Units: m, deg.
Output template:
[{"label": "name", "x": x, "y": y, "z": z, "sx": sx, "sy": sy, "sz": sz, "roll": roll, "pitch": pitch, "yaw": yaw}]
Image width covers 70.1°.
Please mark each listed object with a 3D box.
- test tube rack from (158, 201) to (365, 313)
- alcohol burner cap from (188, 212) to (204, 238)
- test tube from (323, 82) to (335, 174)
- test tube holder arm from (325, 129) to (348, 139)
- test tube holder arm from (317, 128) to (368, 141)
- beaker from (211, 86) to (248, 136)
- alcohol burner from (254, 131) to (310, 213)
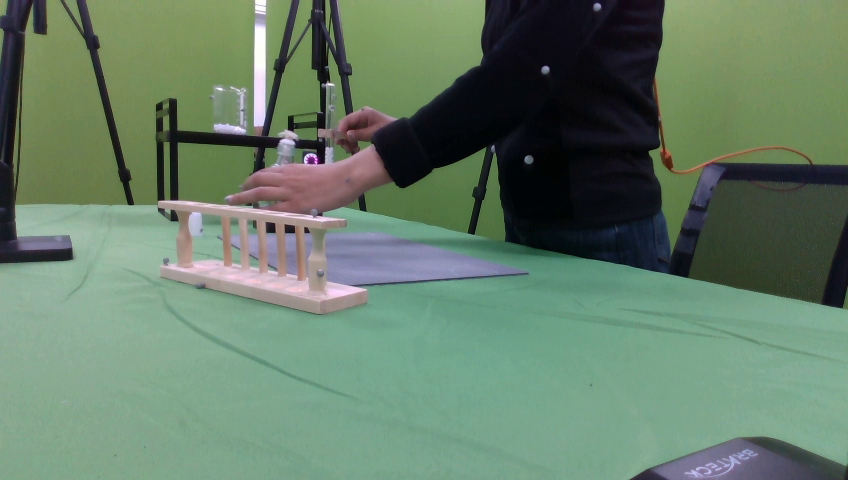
[{"label": "test tube rack", "x": -0.174, "y": 0.009, "z": 0.624, "sx": 0.241, "sy": 0.085, "sz": 0.067, "roll": 7, "pitch": 9, "yaw": 34}, {"label": "alcohol burner cap", "x": -0.390, "y": -0.029, "z": 1.025, "sx": 0.034, "sy": 0.048, "sz": 0.034, "roll": 2, "pitch": 9, "yaw": 0}, {"label": "test tube", "x": -0.158, "y": -0.186, "z": 1.008, "sx": 0.017, "sy": 0.150, "sz": 0.017, "roll": 3, "pitch": 12, "yaw": 0}, {"label": "test tube holder arm", "x": -0.148, "y": -0.181, "z": 1.030, "sx": 0.010, "sy": 0.015, "sz": 0.088, "roll": 9, "pitch": 9, "yaw": 10}, {"label": "test tube holder arm", "x": -0.141, "y": -0.187, "z": 1.075, "sx": 0.013, "sy": 0.015, "sz": 0.179, "roll": 10, "pitch": 9, "yaw": 17}, {"label": "beaker", "x": -0.413, "y": -0.274, "z": 1.297, "sx": 0.074, "sy": 0.100, "sz": 0.083, "roll": -5, "pitch": 11, "yaw": -44}, {"label": "alcohol burner", "x": -0.201, "y": -0.097, "z": 0.866, "sx": 0.078, "sy": 0.119, "sz": 0.078, "roll": 9, "pitch": 9, "yaw": -1}]
